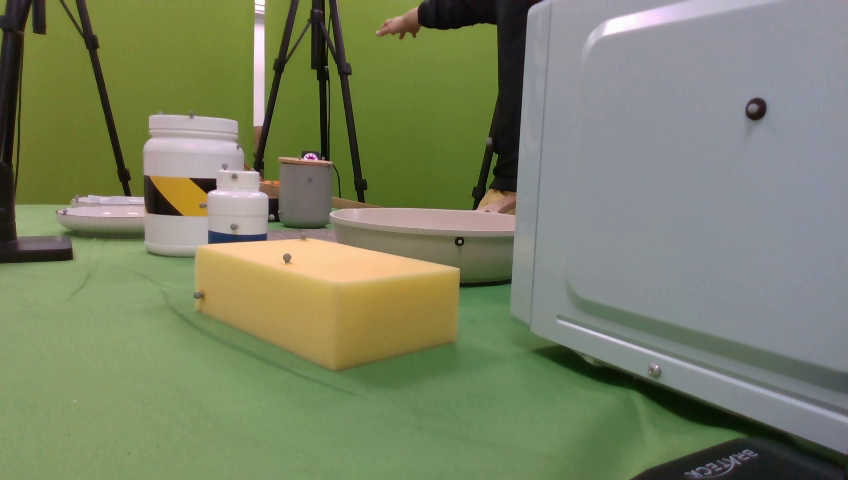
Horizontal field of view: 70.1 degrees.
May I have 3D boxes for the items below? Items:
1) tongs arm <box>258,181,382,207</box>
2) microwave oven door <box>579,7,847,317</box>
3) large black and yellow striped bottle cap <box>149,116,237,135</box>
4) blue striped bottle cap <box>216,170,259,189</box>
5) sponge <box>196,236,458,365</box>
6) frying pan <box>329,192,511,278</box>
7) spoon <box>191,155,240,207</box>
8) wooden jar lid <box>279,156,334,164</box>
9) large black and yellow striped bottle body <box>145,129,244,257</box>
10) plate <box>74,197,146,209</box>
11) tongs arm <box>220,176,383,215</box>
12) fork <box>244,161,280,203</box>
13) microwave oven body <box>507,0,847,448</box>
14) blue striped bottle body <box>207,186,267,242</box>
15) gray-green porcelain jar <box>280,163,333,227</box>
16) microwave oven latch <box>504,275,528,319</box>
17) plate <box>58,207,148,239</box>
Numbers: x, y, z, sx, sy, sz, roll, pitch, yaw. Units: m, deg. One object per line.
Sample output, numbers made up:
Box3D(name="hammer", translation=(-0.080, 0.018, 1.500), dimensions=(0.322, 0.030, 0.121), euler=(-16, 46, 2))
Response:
Box3D(name="tongs arm", translation=(-0.241, -0.095, 1.373), dimensions=(0.387, 0.026, 0.050), euler=(9, 0, -37))
Box3D(name="microwave oven door", translation=(0.294, -0.067, 0.570), dimensions=(0.358, 0.243, 0.039), euler=(-3, 9, -31))
Box3D(name="large black and yellow striped bottle cap", translation=(-0.319, -0.158, 0.841), dimensions=(0.115, 0.019, 0.115), euler=(3, 7, 0))
Box3D(name="blue striped bottle cap", translation=(-0.201, -0.066, 0.654), dimensions=(0.044, 0.020, 0.044), euler=(0, 6, 0))
Box3D(name="sponge", translation=(-0.087, 0.039, 0.500), dimensions=(0.206, 0.061, 0.119), euler=(8, 9, 44))
Box3D(name="frying pan", translation=(0.071, -0.030, 0.883), dimensions=(0.305, 0.102, 0.490), euler=(7, 17, 27))
Box3D(name="spoon", translation=(-0.489, -0.135, 1.417), dimensions=(0.041, 0.021, 0.194), euler=(2, -36, 20))
Box3D(name="wooden jar lid", translation=(-0.237, -0.154, 1.213), dimensions=(0.108, 0.020, 0.108), euler=(6, 9, -1))
Box3D(name="large black and yellow striped bottle body", translation=(-0.320, -0.075, 0.851), dimensions=(0.131, 0.184, 0.130), euler=(2, 8, 0))
Box3D(name="plate", translation=(-0.596, -0.062, 1.238), dimensions=(0.208, 0.039, 0.207), euler=(2, 8, 0))
Box3D(name="tongs arm", translation=(-0.285, -0.104, 1.445), dimensions=(0.389, 0.027, 0.028), euler=(9, -4, -23))
Box3D(name="fork", translation=(-0.398, -0.144, 1.489), dimensions=(0.028, 0.018, 0.208), euler=(22, -23, 47))
Box3D(name="microwave oven body", translation=(0.331, -0.042, 0.425), dimensions=(0.444, 0.260, 0.324), euler=(-2, 8, -31))
Box3D(name="blue striped bottle body", translation=(-0.204, -0.016, 0.661), dimensions=(0.063, 0.120, 0.063), euler=(2, 7, 0))
Box3D(name="gray-green porcelain jar", translation=(-0.238, -0.092, 1.221), dimensions=(0.106, 0.126, 0.106), euler=(1, 7, 0))
Box3D(name="microwave oven latch", translation=(0.100, 0.041, 0.471), dimensions=(0.079, 0.029, 0.030), euler=(-1, 7, -28))
Box3D(name="plate", translation=(-0.496, -0.030, 1.022), dimensions=(0.209, 0.038, 0.209), euler=(2, 8, 0))
